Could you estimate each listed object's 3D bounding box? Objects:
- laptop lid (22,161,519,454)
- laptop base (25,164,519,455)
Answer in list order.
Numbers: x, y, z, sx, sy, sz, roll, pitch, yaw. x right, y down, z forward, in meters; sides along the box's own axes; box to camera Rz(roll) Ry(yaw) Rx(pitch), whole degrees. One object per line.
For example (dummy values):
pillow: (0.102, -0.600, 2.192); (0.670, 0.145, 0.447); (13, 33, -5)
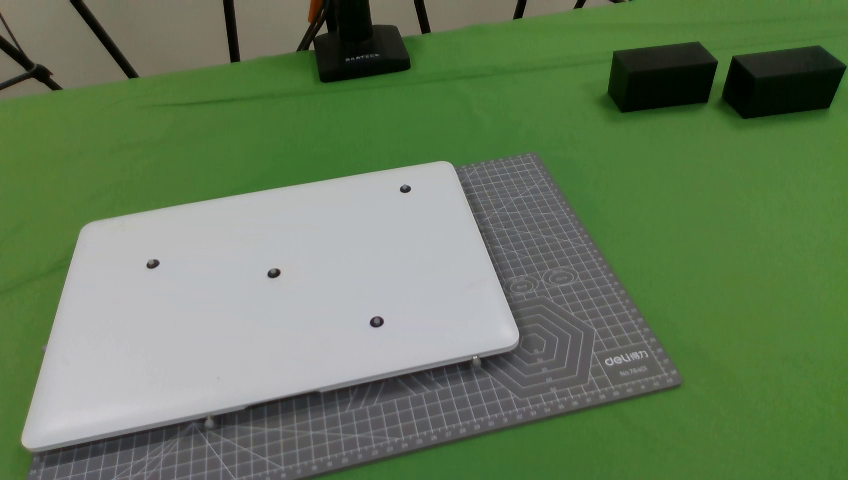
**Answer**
laptop lid: (-0.122, 0.032, 0.501); (0.357, 0.013, 0.239); (-10, 45, -5)
laptop base: (-0.122, 0.039, 0.510); (0.355, 0.023, 0.233); (-11, 47, -6)
